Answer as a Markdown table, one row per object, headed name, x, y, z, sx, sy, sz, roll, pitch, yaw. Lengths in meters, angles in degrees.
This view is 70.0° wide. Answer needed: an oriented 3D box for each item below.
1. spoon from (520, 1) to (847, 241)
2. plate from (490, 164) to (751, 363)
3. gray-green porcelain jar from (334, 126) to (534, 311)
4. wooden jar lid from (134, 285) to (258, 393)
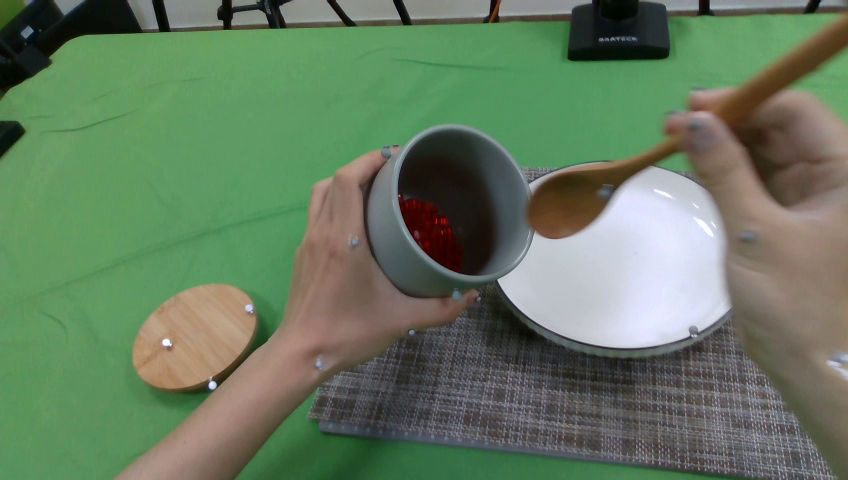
| name | x | y | z | sx | sy | sz | roll | pitch | yaw |
| --- | --- | --- | --- | --- | --- | --- | --- | --- | --- |
| spoon | 0.110 | -0.043 | 0.289 | 0.042 | 0.194 | 0.021 | 37 | 59 | -10 |
| plate | 0.156 | 0.017 | 0.509 | 0.207 | 0.039 | 0.205 | -5 | 47 | 6 |
| gray-green porcelain jar | 0.000 | -0.007 | 0.432 | 0.106 | 0.126 | 0.105 | 8 | 72 | -26 |
| wooden jar lid | -0.197 | 0.087 | 0.531 | 0.108 | 0.021 | 0.107 | -4 | 48 | 5 |
